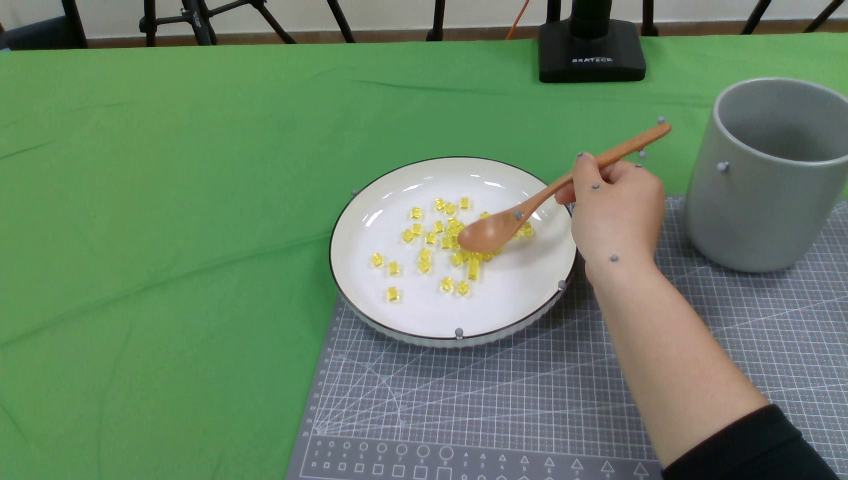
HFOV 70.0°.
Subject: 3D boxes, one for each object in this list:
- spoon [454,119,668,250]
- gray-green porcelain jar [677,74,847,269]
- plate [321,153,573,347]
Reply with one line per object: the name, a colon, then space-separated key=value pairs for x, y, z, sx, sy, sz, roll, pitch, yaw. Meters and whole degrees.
spoon: x=0.110 y=-0.045 z=0.498 sx=0.194 sy=0.022 sz=0.041 roll=-33 pitch=37 yaw=16
gray-green porcelain jar: x=0.264 y=-0.048 z=0.479 sx=0.106 sy=0.128 sz=0.105 roll=-3 pitch=48 yaw=4
plate: x=0.019 y=0.007 z=0.517 sx=0.207 sy=0.039 sz=0.205 roll=-3 pitch=48 yaw=3
